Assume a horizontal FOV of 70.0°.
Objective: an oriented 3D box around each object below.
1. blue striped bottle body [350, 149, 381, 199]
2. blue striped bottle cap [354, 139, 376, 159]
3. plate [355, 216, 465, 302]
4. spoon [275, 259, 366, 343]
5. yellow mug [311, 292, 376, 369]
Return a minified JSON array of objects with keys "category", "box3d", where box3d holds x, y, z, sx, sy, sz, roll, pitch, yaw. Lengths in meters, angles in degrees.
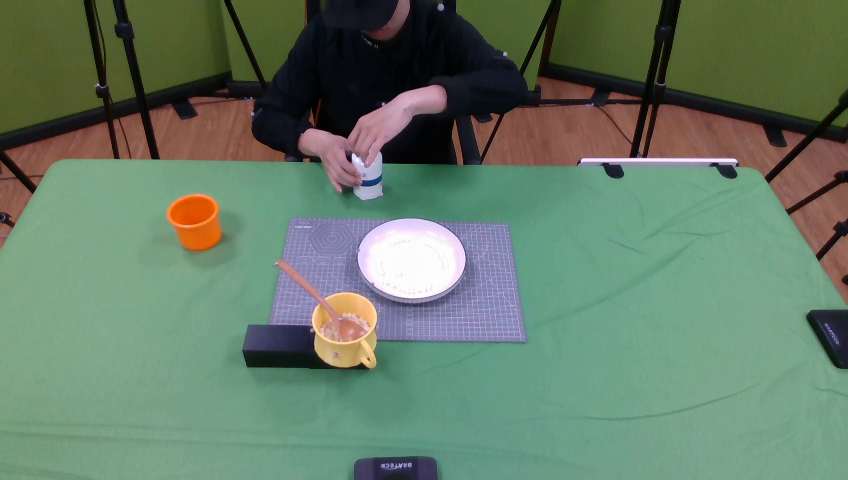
[{"category":"blue striped bottle body","box3d":[-0.121,-0.149,1.263,0.063,0.121,0.062,2,46,-2]},{"category":"blue striped bottle cap","box3d":[-0.119,-0.184,1.225,0.044,0.021,0.044,3,44,-3]},{"category":"plate","box3d":[-0.027,0.039,1.144,0.208,0.039,0.206,2,46,-2]},{"category":"spoon","box3d":[-0.161,0.098,0.946,0.194,0.021,0.041,48,56,-5]},{"category":"yellow mug","box3d":[-0.115,0.150,0.945,0.100,0.064,0.130,-29,57,-28]}]
